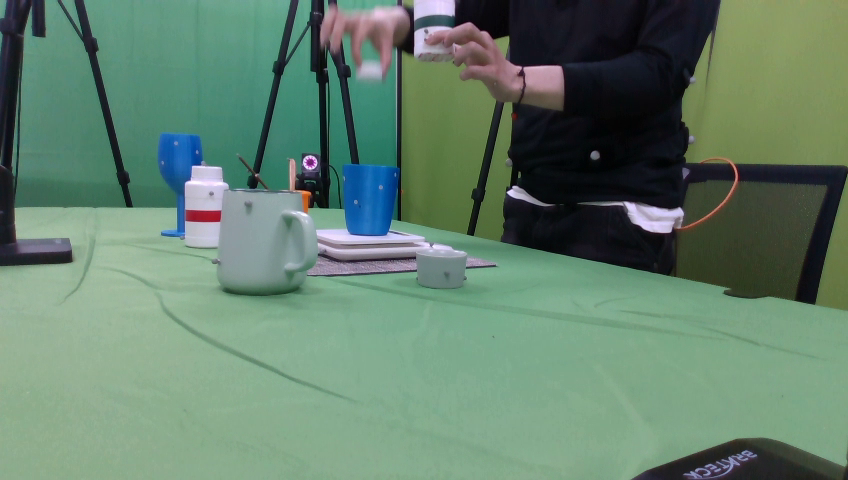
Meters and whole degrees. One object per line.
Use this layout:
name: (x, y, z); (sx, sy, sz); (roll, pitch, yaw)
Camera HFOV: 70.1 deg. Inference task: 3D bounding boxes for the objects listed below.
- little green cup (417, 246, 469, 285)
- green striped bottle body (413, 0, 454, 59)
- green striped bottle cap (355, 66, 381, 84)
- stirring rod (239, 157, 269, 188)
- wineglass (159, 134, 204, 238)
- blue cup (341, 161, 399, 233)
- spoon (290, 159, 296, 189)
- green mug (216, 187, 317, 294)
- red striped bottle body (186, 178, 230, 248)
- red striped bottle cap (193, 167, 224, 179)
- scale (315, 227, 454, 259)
little green cup: (0.021, 0.029, 0.701); (0.061, 0.038, 0.061); (1, 6, 0)
green striped bottle body: (0.014, -0.340, 0.914); (0.063, 0.119, 0.063); (-1, 4, 0)
green striped bottle cap: (-0.094, -0.279, 1.024); (0.044, 0.020, 0.044); (-3, 0, 0)
stirring rod: (-0.309, -0.098, 1.209); (0.006, 0.177, 0.014); (-39, 29, -4)
wineglass: (-0.415, -0.093, 1.040); (0.074, 0.172, 0.073); (2, 7, 0)
blue cup: (-0.081, -0.062, 0.884); (0.093, 0.100, 0.092); (3, 5, 0)
spoon: (-0.273, -0.102, 1.252); (0.042, 0.193, 0.021); (7, -39, -17)
green mug: (-0.157, 0.000, 0.629); (0.124, 0.105, 0.093); (7, 9, 37)
red striped bottle body: (-0.331, -0.049, 0.927); (0.063, 0.119, 0.063); (2, 6, 0)
red striped bottle cap: (-0.329, -0.103, 0.921); (0.044, 0.017, 0.044); (-1, 9, 0)
scale: (-0.066, 0.001, 0.906); (0.202, 0.031, 0.148); (-2, 8, -31)
